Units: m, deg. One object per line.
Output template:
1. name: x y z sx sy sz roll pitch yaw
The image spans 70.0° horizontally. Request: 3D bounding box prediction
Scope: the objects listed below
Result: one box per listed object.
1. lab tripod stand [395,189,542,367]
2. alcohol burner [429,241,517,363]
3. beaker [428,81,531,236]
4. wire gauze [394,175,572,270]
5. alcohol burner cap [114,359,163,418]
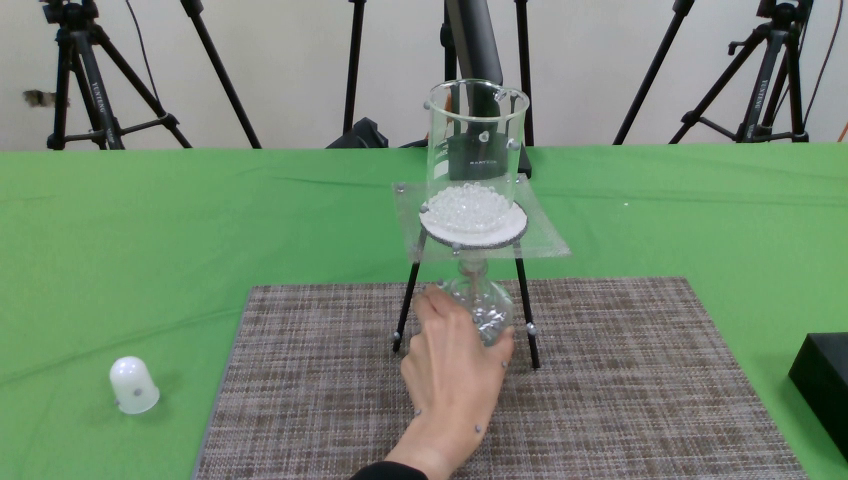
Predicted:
1. lab tripod stand: 0.046 0.034 0.530 0.148 0.132 0.147 2 35 -1
2. alcohol burner: 0.044 0.049 0.525 0.078 0.120 0.077 1 36 0
3. beaker: 0.041 -0.062 0.466 0.073 0.101 0.084 21 39 24
4. wire gauze: 0.042 -0.017 0.488 0.125 0.011 0.120 -1 37 -9
5. alcohol burner cap: -0.235 0.119 0.495 0.034 0.048 0.033 1 35 0
